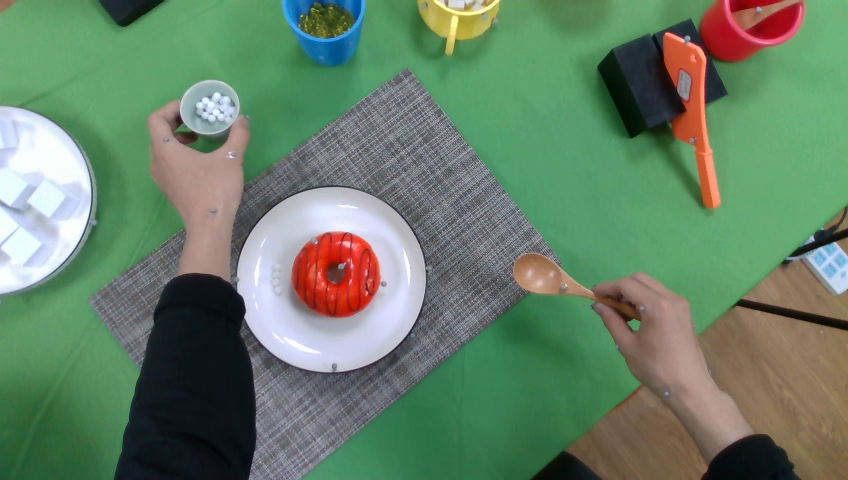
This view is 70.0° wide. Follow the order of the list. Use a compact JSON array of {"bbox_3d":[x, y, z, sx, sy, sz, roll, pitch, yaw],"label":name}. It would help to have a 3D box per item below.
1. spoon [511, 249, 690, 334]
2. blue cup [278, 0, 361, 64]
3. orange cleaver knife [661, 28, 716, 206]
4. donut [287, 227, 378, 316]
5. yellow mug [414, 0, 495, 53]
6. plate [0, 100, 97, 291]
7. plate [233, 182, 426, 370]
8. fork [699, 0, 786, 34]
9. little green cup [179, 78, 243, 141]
[{"bbox_3d":[0.182,0.058,0.627,0.193,0.022,0.041,23,82,8],"label":"spoon"},{"bbox_3d":[-0.112,-0.243,0.673,0.093,0.100,0.092,0,85,-6],"label":"blue cup"},{"bbox_3d":[0.307,-0.140,0.705,0.012,0.076,0.213,-23,116,-4],"label":"orange cleaver knife"},{"bbox_3d":[-0.100,0.034,0.667,0.099,0.048,0.099,0,87,-4],"label":"donut"},{"bbox_3d":[0.036,-0.283,0.704,0.100,0.064,0.130,10,85,-3],"label":"yellow mug"},{"bbox_3d":[-0.460,-0.046,0.661,0.208,0.039,0.207,0,85,-4],"label":"plate"},{"bbox_3d":[-0.103,0.040,0.677,0.209,0.038,0.208,0,86,-4],"label":"plate"},{"bbox_3d":[0.426,-0.281,0.694,0.206,0.019,0.028,-12,82,36],"label":"fork"},{"bbox_3d":[-0.226,-0.137,0.652,0.061,0.039,0.061,0,78,2],"label":"little green cup"}]
